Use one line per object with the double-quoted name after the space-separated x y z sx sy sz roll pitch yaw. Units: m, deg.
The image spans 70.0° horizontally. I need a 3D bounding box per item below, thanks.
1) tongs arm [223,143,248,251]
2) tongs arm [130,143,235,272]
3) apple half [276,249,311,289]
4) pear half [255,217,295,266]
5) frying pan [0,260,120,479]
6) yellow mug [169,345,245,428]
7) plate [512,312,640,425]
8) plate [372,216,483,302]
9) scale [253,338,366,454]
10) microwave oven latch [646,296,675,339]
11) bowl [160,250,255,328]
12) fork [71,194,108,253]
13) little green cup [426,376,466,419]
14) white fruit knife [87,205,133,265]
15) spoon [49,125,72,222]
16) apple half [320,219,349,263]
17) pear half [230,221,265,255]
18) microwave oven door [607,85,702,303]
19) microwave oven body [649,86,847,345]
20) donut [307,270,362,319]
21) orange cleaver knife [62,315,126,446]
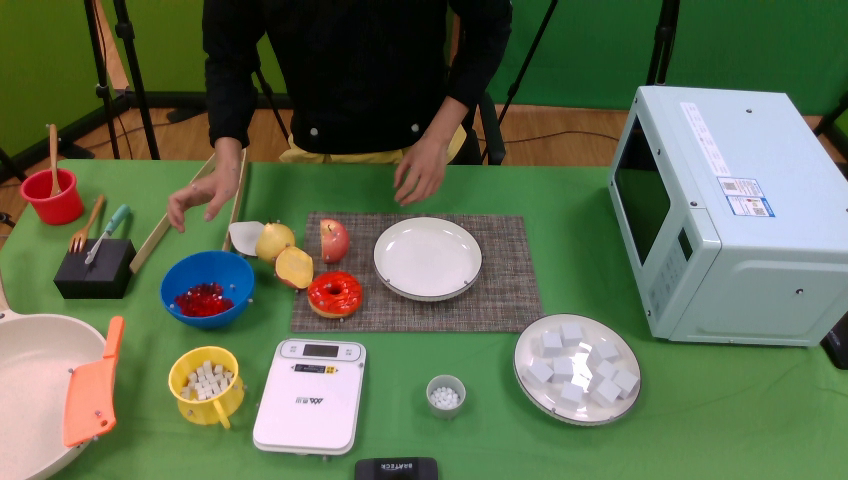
-0.397 -0.074 1.231 0.051 0.026 0.382 -1 45 -1 "tongs arm"
-0.483 -0.079 1.233 0.028 0.028 0.385 7 45 12 "tongs arm"
-0.244 0.057 1.113 0.033 0.082 0.081 -34 34 27 "apple half"
-0.269 0.001 1.117 0.056 0.110 0.076 25 54 19 "pear half"
-0.647 0.164 0.936 0.307 0.103 0.485 -19 58 -22 "frying pan"
-0.322 0.230 0.922 0.100 0.064 0.130 -24 53 -25 "yellow mug"
0.246 0.213 0.999 0.208 0.039 0.206 2 46 -2 "plate"
0.006 0.038 1.145 0.209 0.038 0.208 2 46 -2 "plate"
-0.175 0.236 0.951 0.149 0.032 0.199 5 45 -1 "scale"
0.412 0.134 1.061 0.030 0.029 0.078 4 45 1 "microwave oven latch"
-0.362 0.098 1.040 0.151 0.077 0.150 2 45 -2 "bowl"
-0.634 -0.036 1.158 0.028 0.019 0.206 -8 31 -8 "fork"
0.033 0.248 0.950 0.061 0.039 0.061 2 46 -2 "little green cup"
-0.584 -0.013 1.129 0.016 0.027 0.206 -1 32 -4 "white fruit knife"
-0.718 -0.131 1.189 0.041 0.021 0.193 -3 90 -6 "spoon"
-0.169 0.002 1.144 0.053 0.075 0.080 -3 42 -13 "apple half"
-0.333 -0.001 1.166 0.088 0.031 0.070 29 54 6 "pear half"
0.423 -0.094 1.140 0.039 0.245 0.353 2 46 -1 "microwave oven door"
0.567 -0.053 1.118 0.326 0.261 0.439 2 45 -1 "microwave oven body"
-0.157 0.097 1.073 0.099 0.048 0.098 4 45 -4 "donut"
-0.480 0.199 0.887 0.077 0.012 0.210 -9 47 -8 "orange cleaver knife"
